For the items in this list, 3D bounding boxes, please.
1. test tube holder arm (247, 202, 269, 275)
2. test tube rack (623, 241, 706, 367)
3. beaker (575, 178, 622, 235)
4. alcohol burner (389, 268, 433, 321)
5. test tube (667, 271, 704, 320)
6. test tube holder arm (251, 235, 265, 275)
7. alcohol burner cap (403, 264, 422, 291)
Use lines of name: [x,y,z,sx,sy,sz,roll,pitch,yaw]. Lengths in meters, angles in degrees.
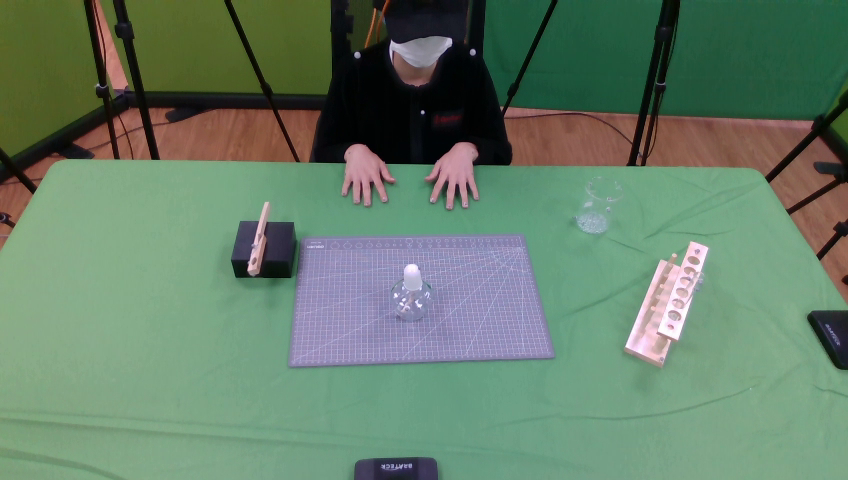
test tube holder arm: [-0.304,-0.006,1.116,0.013,0.015,0.177,-6,46,2]
test tube rack: [0.435,0.103,1.089,0.066,0.085,0.242,24,49,18]
beaker: [0.356,-0.068,1.240,0.084,0.101,0.073,-18,50,-21]
alcohol burner: [-0.023,0.085,1.046,0.078,0.119,0.077,2,48,-2]
test tube: [0.432,0.104,1.019,0.017,0.151,0.017,3,48,-3]
test tube holder arm: [-0.297,0.025,1.085,0.010,0.015,0.087,-5,46,2]
alcohol burner cap: [-0.021,0.060,1.021,0.034,0.048,0.033,-2,47,2]
